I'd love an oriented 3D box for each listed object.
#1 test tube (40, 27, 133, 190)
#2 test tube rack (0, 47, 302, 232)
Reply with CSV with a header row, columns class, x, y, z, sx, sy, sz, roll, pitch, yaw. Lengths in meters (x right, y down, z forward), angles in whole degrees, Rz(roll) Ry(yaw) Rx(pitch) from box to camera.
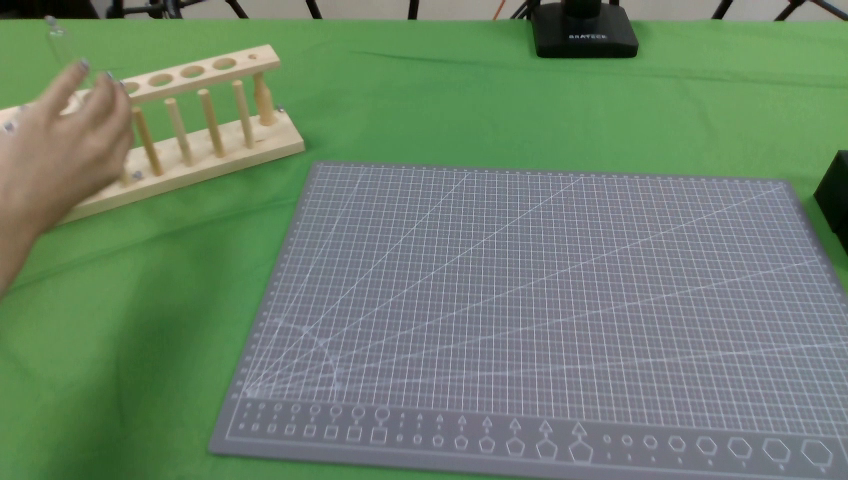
class,x,y,z,sx,sy,sz,roll,pitch,yaw
test tube,-0.277,-0.103,0.503,0.017,0.151,0.017,-1,44,2
test tube rack,-0.245,-0.097,0.560,0.243,0.086,0.066,-21,49,-18
